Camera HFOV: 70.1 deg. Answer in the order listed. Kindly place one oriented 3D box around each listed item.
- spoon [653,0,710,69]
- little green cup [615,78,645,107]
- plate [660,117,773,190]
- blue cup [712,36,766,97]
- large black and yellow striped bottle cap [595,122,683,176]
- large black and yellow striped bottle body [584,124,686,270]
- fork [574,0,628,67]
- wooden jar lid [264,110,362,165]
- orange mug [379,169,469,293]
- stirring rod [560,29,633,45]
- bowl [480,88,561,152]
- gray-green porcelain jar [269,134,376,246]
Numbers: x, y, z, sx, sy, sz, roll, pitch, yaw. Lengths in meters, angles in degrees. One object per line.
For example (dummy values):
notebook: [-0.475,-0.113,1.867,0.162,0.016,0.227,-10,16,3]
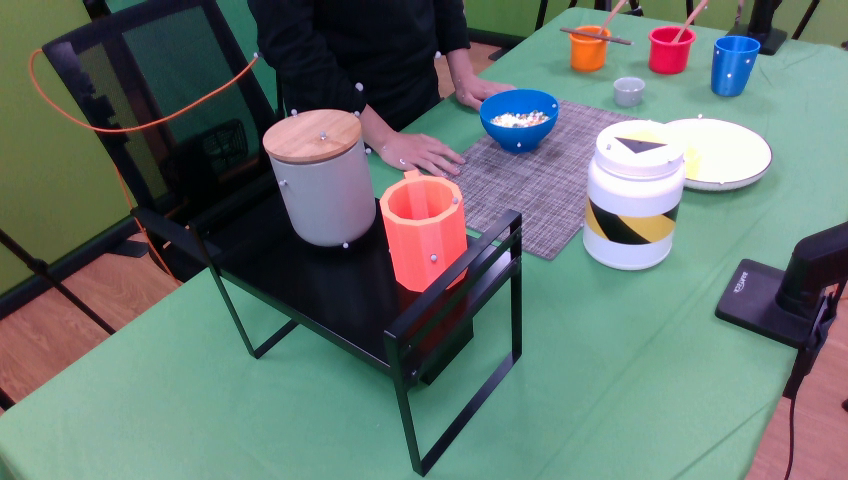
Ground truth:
spoon: [0.573,-0.459,1.332,0.041,0.022,0.193,43,105,41]
little green cup: [0.426,-0.306,1.257,0.061,0.039,0.061,-5,40,4]
plate: [0.495,-0.148,1.063,0.209,0.038,0.208,-5,40,4]
blue cup: [0.627,-0.350,1.227,0.092,0.100,0.092,-4,39,4]
large black and yellow striped bottle cap: [0.293,-0.126,0.826,0.115,0.019,0.114,-3,40,3]
large black and yellow striped bottle body: [0.304,-0.063,0.880,0.131,0.185,0.130,-5,41,5]
fork: [0.413,-0.481,1.377,0.207,0.019,0.028,-56,43,12]
wooden jar lid: [-0.122,-0.112,0.673,0.108,0.021,0.108,-4,37,4]
orange mug: [-0.002,-0.019,0.665,0.083,0.101,0.125,-12,45,-4]
stirring rod: [0.381,-0.452,1.345,0.174,0.006,0.014,26,50,33]
bowl: [0.185,-0.222,1.160,0.151,0.077,0.150,-4,40,4]
gray-green porcelain jar: [-0.115,-0.064,0.715,0.106,0.127,0.105,-4,40,4]
